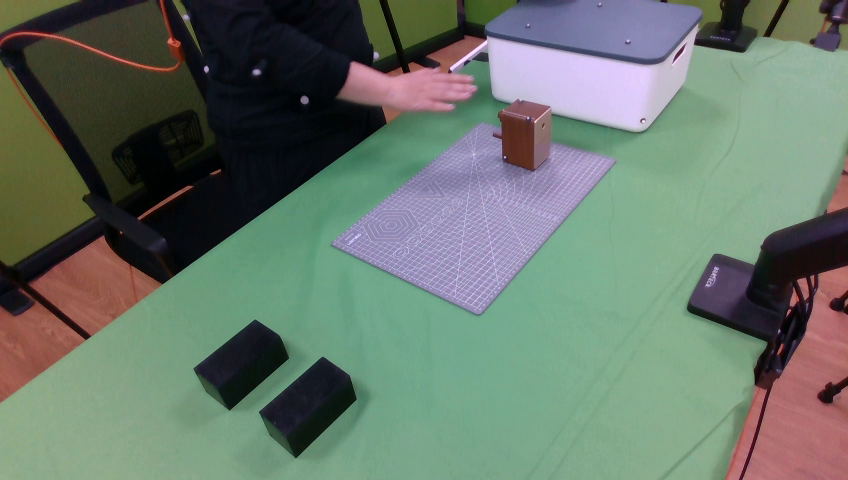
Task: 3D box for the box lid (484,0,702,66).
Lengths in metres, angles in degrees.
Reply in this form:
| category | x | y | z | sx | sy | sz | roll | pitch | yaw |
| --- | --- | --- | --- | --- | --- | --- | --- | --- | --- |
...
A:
| category | x | y | z | sx | sy | sz | roll | pitch | yaw |
| --- | --- | --- | --- | --- | --- | --- | --- | --- | --- |
| box lid | 0.333 | -0.428 | 1.202 | 0.368 | 0.015 | 0.264 | 21 | 48 | 30 |

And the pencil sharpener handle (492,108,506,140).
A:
| category | x | y | z | sx | sy | sz | roll | pitch | yaw |
| --- | --- | --- | --- | --- | --- | --- | --- | --- | --- |
| pencil sharpener handle | 0.141 | -0.216 | 1.114 | 0.030 | 0.068 | 0.036 | 23 | 41 | 32 |

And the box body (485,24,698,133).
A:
| category | x | y | z | sx | sy | sz | roll | pitch | yaw |
| --- | --- | --- | --- | --- | --- | --- | --- | --- | --- |
| box body | 0.340 | -0.373 | 1.251 | 0.361 | 0.161 | 0.255 | 21 | 48 | 30 |

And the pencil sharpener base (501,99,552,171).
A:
| category | x | y | z | sx | sy | sz | roll | pitch | yaw |
| --- | --- | --- | --- | --- | --- | --- | --- | --- | --- |
| pencil sharpener base | 0.184 | -0.191 | 1.097 | 0.076 | 0.107 | 0.061 | 23 | 49 | 32 |
